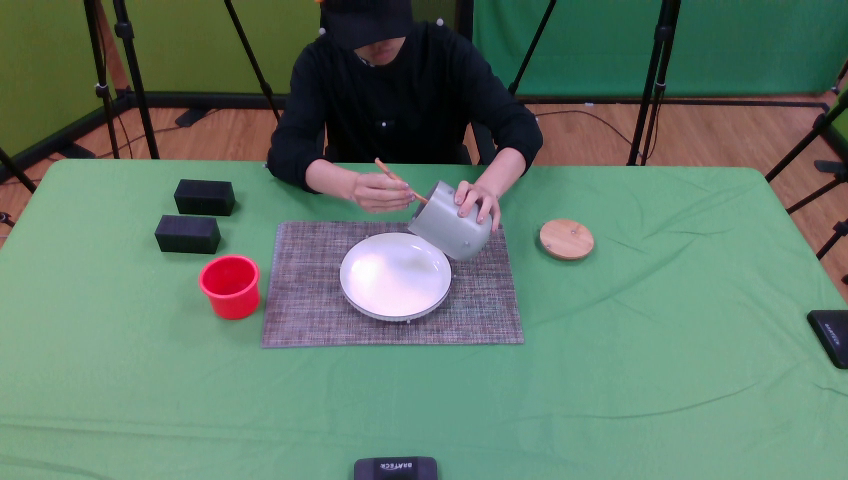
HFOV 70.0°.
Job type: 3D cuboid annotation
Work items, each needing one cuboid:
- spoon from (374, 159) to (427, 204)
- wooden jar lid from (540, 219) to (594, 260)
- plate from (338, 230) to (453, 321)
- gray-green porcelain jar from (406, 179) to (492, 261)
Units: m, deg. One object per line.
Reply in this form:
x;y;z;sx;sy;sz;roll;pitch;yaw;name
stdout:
-0.011;-0.077;1.049;0.194;0.021;0.041;35;37;-11;spoon
0.286;0.001;1.218;0.108;0.021;0.107;1;46;-1;wooden jar lid
-0.052;0.068;1.111;0.208;0.039;0.206;2;46;-2;plate
0.049;-0.031;1.073;0.127;0.106;0.105;32;47;-8;gray-green porcelain jar
